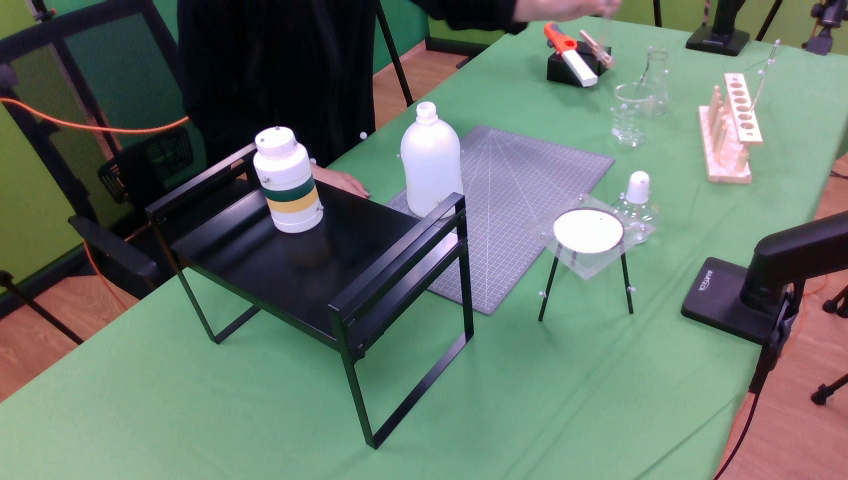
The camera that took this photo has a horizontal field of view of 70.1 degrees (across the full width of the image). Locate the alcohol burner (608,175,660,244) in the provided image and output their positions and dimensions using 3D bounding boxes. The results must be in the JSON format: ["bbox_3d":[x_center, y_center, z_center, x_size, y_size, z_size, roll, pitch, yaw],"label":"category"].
[{"bbox_3d":[0.323,-0.053,0.924,0.078,0.119,0.077,-4,43,4],"label":"alcohol burner"}]

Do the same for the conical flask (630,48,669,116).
[{"bbox_3d":[0.457,-0.317,1.205,0.075,0.122,0.075,-4,41,4],"label":"conical flask"}]

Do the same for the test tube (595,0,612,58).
[{"bbox_3d":[0.302,-0.377,1.009,0.017,0.151,0.017,-2,41,2],"label":"test tube"}]

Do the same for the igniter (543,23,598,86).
[{"bbox_3d":[0.320,-0.419,1.344,0.057,0.025,0.274,-12,44,-3],"label":"igniter"}]

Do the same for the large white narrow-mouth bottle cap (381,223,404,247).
[{"bbox_3d":[-0.052,-0.008,0.993,0.038,0.024,0.037,-5,39,4],"label":"large white narrow-mouth bottle cap"}]

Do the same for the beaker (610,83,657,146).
[{"bbox_3d":[0.388,-0.235,1.138,0.074,0.101,0.083,-31,45,-25],"label":"beaker"}]

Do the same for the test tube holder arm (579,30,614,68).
[{"bbox_3d":[0.384,-0.428,1.351,0.013,0.015,0.177,-9,41,-4],"label":"test tube holder arm"}]

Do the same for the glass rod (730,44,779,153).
[{"bbox_3d":[0.555,-0.234,1.020,0.008,0.200,0.008,2,40,-1],"label":"glass rod"}]

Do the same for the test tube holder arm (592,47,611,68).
[{"bbox_3d":[0.386,-0.398,1.317,0.010,0.015,0.087,-9,41,-3],"label":"test tube holder arm"}]

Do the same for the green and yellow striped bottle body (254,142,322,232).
[{"bbox_3d":[-0.165,-0.073,0.732,0.063,0.120,0.063,-4,41,4],"label":"green and yellow striped bottle body"}]

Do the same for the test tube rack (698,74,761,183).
[{"bbox_3d":[0.547,-0.208,1.095,0.066,0.085,0.242,5,42,15],"label":"test tube rack"}]

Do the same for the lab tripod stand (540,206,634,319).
[{"bbox_3d":[0.217,0.034,0.821,0.148,0.132,0.147,-4,42,4],"label":"lab tripod stand"}]

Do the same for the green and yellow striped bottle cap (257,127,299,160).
[{"bbox_3d":[-0.169,-0.112,0.698,0.045,0.020,0.045,-5,40,5],"label":"green and yellow striped bottle cap"}]

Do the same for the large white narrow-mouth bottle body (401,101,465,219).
[{"bbox_3d":[0.013,-0.136,0.999,0.102,0.195,0.101,-5,39,5],"label":"large white narrow-mouth bottle body"}]

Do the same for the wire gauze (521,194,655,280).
[{"bbox_3d":[0.207,-0.012,0.772,0.122,0.011,0.124,-28,44,-20],"label":"wire gauze"}]

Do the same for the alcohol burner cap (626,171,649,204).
[{"bbox_3d":[0.320,-0.081,0.900,0.034,0.048,0.033,-4,42,4],"label":"alcohol burner cap"}]
